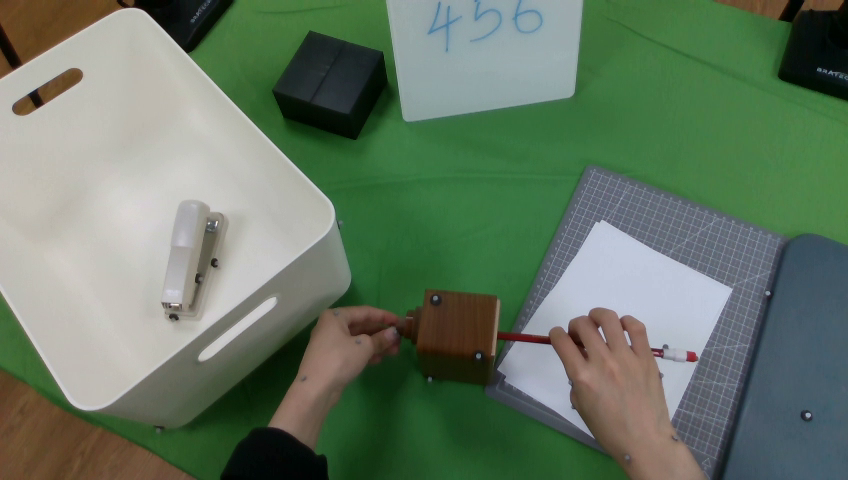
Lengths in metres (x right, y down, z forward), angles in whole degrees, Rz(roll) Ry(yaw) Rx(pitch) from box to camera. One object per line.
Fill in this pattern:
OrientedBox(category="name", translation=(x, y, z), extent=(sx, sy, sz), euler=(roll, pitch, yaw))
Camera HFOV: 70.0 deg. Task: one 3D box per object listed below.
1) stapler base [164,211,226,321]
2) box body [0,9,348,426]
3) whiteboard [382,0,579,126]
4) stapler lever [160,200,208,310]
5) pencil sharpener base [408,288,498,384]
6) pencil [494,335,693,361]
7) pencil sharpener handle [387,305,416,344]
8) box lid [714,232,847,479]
OrientedBox(category="stapler base", translation=(-0.253, 0.023, 0.663), extent=(0.041, 0.024, 0.129), euler=(3, 67, 6))
OrientedBox(category="box body", translation=(-0.278, -0.024, 0.616), extent=(0.254, 0.161, 0.361), euler=(-41, 69, -15))
OrientedBox(category="whiteboard", translation=(0.057, -0.313, 0.693), extent=(0.217, 0.308, 0.142), euler=(-8, 45, -1))
OrientedBox(category="stapler lever", translation=(-0.254, 0.014, 0.639), extent=(0.027, 0.040, 0.117), euler=(3, 67, 7))
OrientedBox(category="pencil sharpener base", translation=(0.028, 0.094, 0.578), extent=(0.076, 0.108, 0.061), euler=(6, 65, 6))
OrientedBox(category="pencil", translation=(0.140, 0.093, 0.532), extent=(0.194, 0.012, 0.012), euler=(5, 64, -1))
OrientedBox(category="pencil sharpener handle", translation=(-0.023, 0.081, 0.572), extent=(0.030, 0.068, 0.036), euler=(6, 72, 6))
OrientedBox(category="box lid", translation=(0.434, 0.181, 0.571), extent=(0.262, 0.015, 0.370), euler=(23, 68, 12))
